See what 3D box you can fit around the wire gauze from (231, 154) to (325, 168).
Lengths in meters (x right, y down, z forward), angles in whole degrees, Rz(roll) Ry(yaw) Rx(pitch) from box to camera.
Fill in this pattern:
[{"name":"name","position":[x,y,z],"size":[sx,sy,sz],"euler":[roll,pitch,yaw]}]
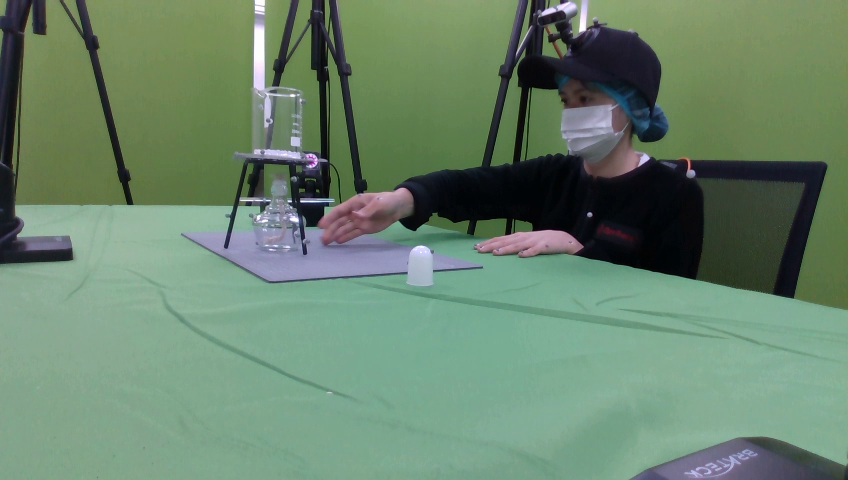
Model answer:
[{"name":"wire gauze","position":[-0.215,-0.117,0.882],"size":[0.125,0.011,0.121],"euler":[3,7,-19]}]

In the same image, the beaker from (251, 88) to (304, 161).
[{"name":"beaker","position":[-0.214,-0.165,0.874],"size":[0.074,0.100,0.084],"euler":[4,6,15]}]

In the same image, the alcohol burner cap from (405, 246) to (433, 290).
[{"name":"alcohol burner cap","position":[-0.005,0.031,0.698],"size":[0.034,0.048,0.034],"euler":[3,8,0]}]

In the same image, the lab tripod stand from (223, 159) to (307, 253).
[{"name":"lab tripod stand","position":[-0.220,-0.053,0.896],"size":[0.148,0.131,0.148],"euler":[1,6,0]}]

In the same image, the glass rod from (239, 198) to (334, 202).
[{"name":"glass rod","position":[-0.277,-0.081,1.232],"size":[0.201,0.008,0.008],"euler":[-1,8,-30]}]

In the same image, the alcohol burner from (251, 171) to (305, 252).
[{"name":"alcohol burner","position":[-0.214,-0.042,0.888],"size":[0.078,0.119,0.078],"euler":[2,9,0]}]
